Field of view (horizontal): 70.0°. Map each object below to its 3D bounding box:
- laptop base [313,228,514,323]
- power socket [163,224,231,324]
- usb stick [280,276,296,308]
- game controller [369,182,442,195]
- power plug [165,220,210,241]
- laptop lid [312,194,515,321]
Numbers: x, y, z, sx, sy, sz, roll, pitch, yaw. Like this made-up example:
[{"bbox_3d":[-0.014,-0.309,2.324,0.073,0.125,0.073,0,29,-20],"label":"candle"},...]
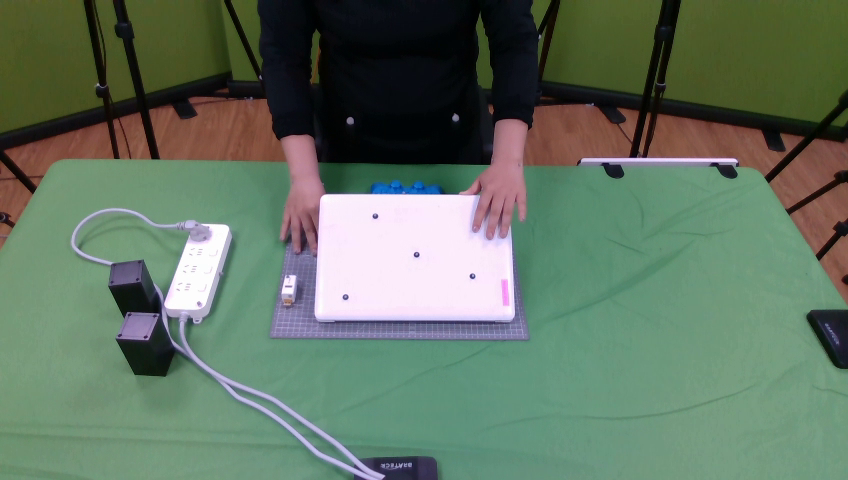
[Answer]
[{"bbox_3d":[-0.020,0.063,1.135,0.355,0.023,0.234,1,42,-4],"label":"laptop base"},{"bbox_3d":[-0.411,0.052,1.107,0.072,0.033,0.225,3,46,-3],"label":"power socket"},{"bbox_3d":[-0.244,0.094,1.080,0.021,0.027,0.059,4,45,-4],"label":"usb stick"},{"bbox_3d":[-0.039,-0.091,1.268,0.155,0.052,0.096,1,50,-2],"label":"game controller"},{"bbox_3d":[-0.440,-0.015,1.143,0.072,0.053,0.035,7,46,9],"label":"power plug"},{"bbox_3d":[-0.016,0.027,1.080,0.357,0.013,0.240,2,72,-3],"label":"laptop lid"}]
